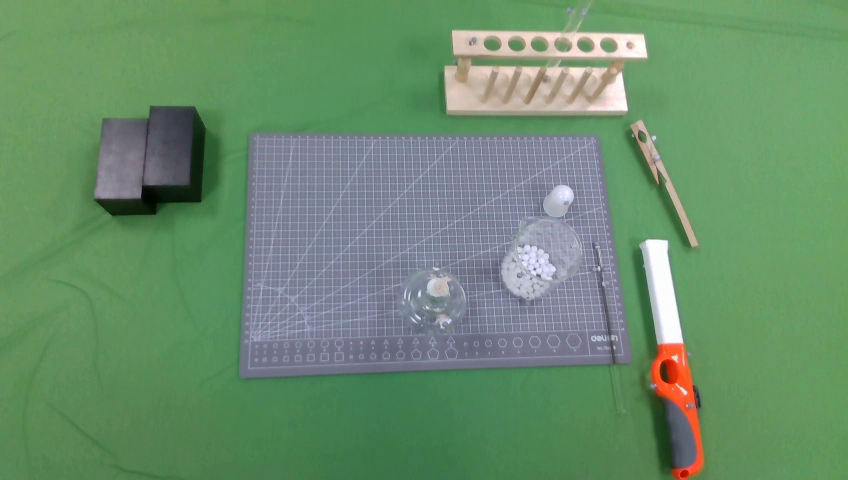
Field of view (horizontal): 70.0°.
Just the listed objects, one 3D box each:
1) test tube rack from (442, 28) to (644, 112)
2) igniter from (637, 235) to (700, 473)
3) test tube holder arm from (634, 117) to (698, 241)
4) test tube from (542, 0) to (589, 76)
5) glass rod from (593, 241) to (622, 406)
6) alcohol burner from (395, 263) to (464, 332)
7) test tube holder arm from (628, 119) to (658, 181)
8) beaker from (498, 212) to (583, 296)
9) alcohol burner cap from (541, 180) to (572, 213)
[{"bbox_3d":[0.149,-0.215,0.775,0.243,0.085,0.066,-1,73,-6],"label":"test tube rack"},{"bbox_3d":[0.287,0.127,0.715,0.057,0.025,0.275,3,72,-16],"label":"igniter"},{"bbox_3d":[0.312,-0.080,0.784,0.013,0.015,0.177,-27,75,21],"label":"test tube holder arm"},{"bbox_3d":[0.169,-0.249,0.736,0.017,0.151,0.017,3,69,-7],"label":"test tube"},{"bbox_3d":[0.218,0.096,0.724,0.008,0.008,0.198,-1,73,-7],"label":"glass rod"},{"bbox_3d":[0.008,0.058,0.658,0.078,0.119,0.077,2,70,-5],"label":"alcohol burner"},{"bbox_3d":[0.291,-0.118,0.797,0.010,0.015,0.087,-26,76,21],"label":"test tube holder arm"},{"bbox_3d":[0.125,0.018,0.690,0.074,0.101,0.083,-33,77,-15],"label":"beaker"},{"bbox_3d":[0.166,-0.056,0.748,0.034,0.048,0.033,2,73,-5],"label":"alcohol burner cap"}]
